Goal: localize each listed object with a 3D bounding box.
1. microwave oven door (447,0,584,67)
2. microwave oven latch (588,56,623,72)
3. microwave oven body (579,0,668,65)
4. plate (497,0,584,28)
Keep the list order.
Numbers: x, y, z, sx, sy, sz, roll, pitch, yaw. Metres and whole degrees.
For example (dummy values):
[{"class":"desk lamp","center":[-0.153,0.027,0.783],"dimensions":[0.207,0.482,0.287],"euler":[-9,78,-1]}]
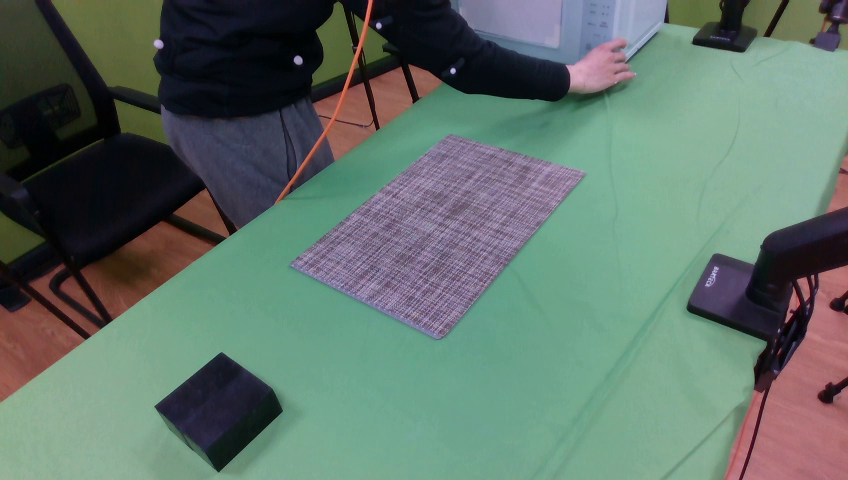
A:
[{"class":"microwave oven door","center":[0.203,-0.544,1.373],"dimensions":[0.353,0.245,0.039],"euler":[23,49,29]},{"class":"microwave oven latch","center":[0.397,-0.396,1.331],"dimensions":[0.030,0.029,0.078],"euler":[-25,44,-18]},{"class":"microwave oven body","center":[0.325,-0.609,1.437],"dimensions":[0.438,0.261,0.327],"euler":[23,49,30]},{"class":"plate","center":[0.286,-0.571,1.488],"dimensions":[0.209,0.038,0.208],"euler":[-5,43,5]}]
